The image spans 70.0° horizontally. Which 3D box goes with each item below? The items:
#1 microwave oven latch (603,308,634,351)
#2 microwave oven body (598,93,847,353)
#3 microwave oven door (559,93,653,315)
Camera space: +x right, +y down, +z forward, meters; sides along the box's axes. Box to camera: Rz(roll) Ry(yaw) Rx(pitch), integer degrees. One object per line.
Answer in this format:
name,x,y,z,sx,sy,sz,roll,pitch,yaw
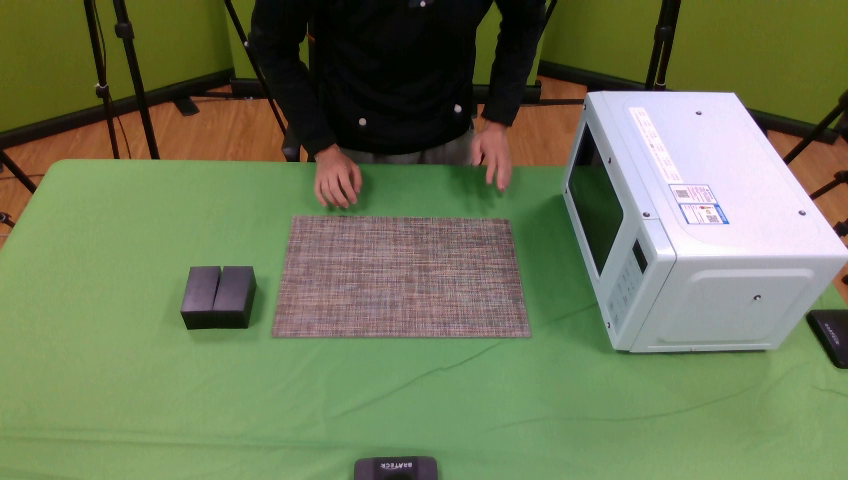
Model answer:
microwave oven latch,0.332,0.153,1.044,0.030,0.029,0.078,0,45,-3
microwave oven body,0.475,-0.041,1.109,0.326,0.261,0.438,-1,45,-4
microwave oven door,0.327,-0.074,1.123,0.039,0.245,0.353,-1,46,-5
